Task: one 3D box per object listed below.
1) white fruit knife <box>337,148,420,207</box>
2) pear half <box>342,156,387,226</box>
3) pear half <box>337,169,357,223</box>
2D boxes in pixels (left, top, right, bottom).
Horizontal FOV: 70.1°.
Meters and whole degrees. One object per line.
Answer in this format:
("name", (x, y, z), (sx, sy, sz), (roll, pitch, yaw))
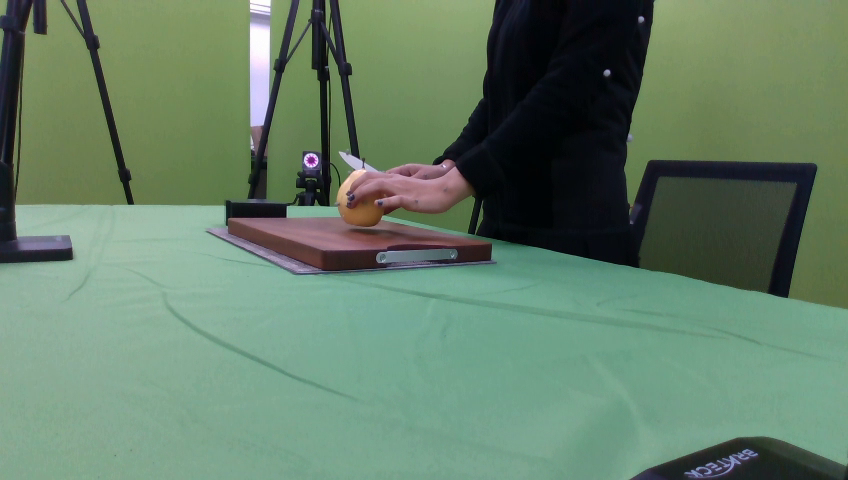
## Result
("white fruit knife", (-0.077, -0.113, 1.087), (0.016, 0.027, 0.208), (3, -20, 45))
("pear half", (-0.088, -0.077, 0.954), (0.056, 0.110, 0.076), (7, 15, 27))
("pear half", (-0.119, -0.071, 0.973), (0.031, 0.088, 0.071), (8, 16, 26))
